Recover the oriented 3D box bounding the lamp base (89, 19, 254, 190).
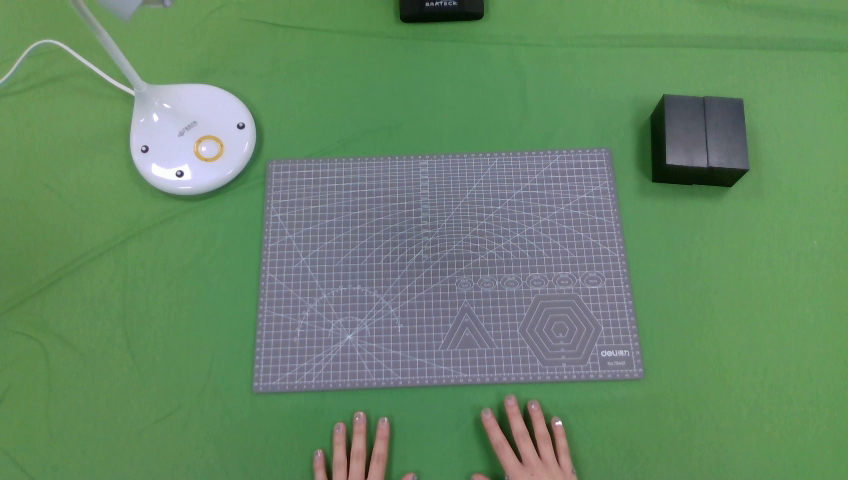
[{"bbox_3d":[-0.315,-0.171,0.722,0.178,0.181,0.160,31,74,14],"label":"lamp base"}]

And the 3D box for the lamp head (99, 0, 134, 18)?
[{"bbox_3d":[-0.250,-0.248,0.451,0.124,0.112,0.112,32,70,-29],"label":"lamp head"}]
